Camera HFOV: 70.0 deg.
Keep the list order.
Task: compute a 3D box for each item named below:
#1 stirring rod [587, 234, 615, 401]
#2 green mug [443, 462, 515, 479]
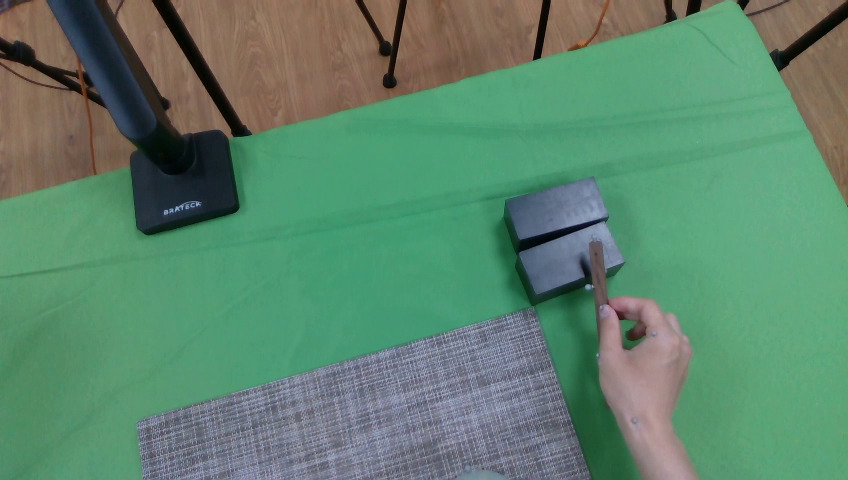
[{"bbox_3d":[0.181,0.081,0.618,0.014,0.006,0.176,-1,101,38],"label":"stirring rod"},{"bbox_3d":[0.061,0.267,0.552,0.092,0.105,0.124,-32,73,-7],"label":"green mug"}]
